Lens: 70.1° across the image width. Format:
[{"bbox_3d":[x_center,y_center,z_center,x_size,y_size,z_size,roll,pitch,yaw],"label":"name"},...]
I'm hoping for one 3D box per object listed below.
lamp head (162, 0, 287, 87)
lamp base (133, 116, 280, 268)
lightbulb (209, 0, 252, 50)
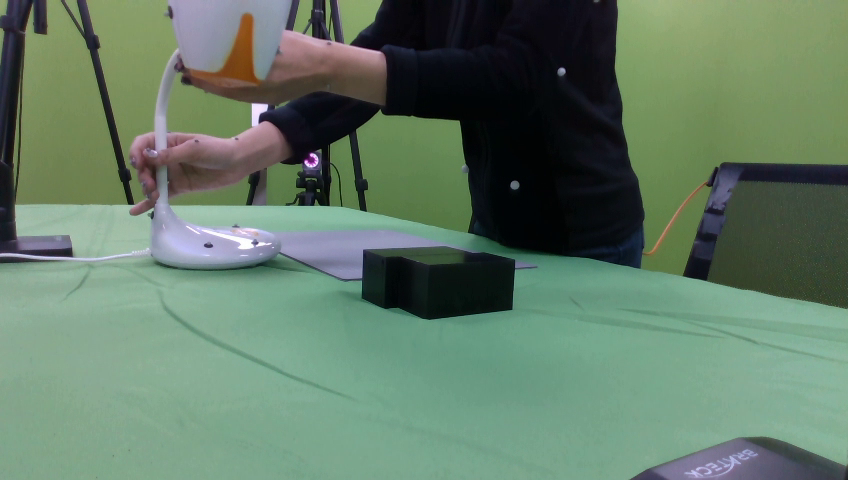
[{"bbox_3d":[-0.178,-0.199,0.534,0.112,0.123,0.112,8,14,-2],"label":"lamp head"},{"bbox_3d":[-0.275,-0.065,0.759,0.180,0.180,0.160,-13,21,-40],"label":"lamp base"},{"bbox_3d":[-0.169,-0.221,0.529,0.059,0.107,0.059,8,6,0],"label":"lightbulb"}]
